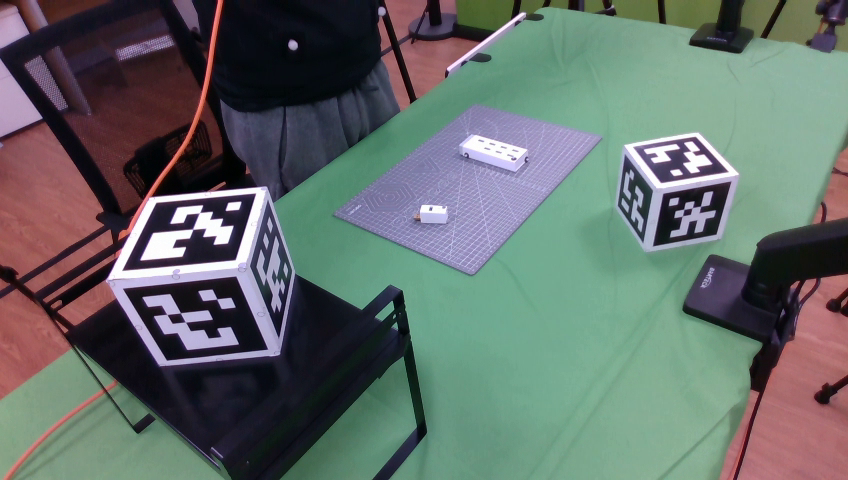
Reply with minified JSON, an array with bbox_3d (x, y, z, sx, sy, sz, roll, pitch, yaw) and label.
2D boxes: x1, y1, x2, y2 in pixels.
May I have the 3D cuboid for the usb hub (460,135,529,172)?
[{"bbox_3d":[0.132,-0.164,1.137,0.124,0.025,0.049,22,49,30],"label":"usb hub"}]

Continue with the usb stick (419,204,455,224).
[{"bbox_3d":[0.024,-0.042,1.005,0.059,0.027,0.021,10,70,17],"label":"usb stick"}]
